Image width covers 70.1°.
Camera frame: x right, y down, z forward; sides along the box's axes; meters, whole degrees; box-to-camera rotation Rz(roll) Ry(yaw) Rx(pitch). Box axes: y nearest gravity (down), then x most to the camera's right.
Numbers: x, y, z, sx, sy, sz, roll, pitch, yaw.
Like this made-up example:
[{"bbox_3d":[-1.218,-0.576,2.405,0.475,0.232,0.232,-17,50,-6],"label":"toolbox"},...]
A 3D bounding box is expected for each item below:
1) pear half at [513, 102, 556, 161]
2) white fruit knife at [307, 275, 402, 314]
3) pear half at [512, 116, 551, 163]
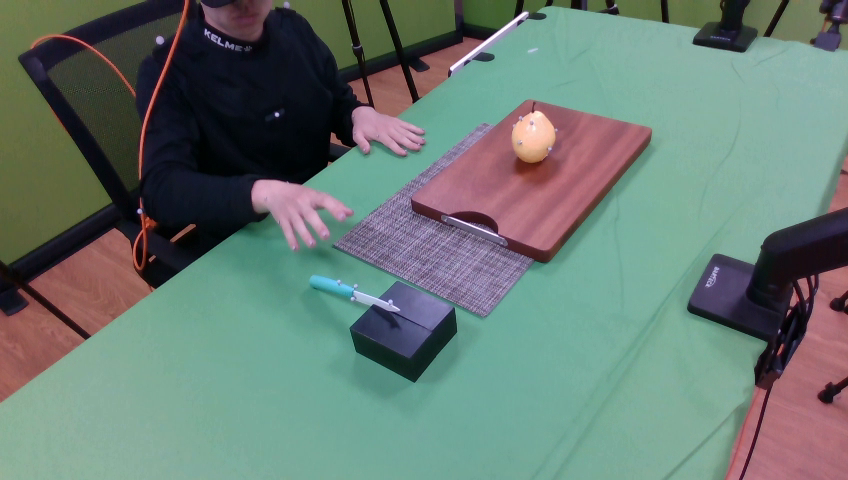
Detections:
[{"bbox_3d":[0.196,-0.198,1.060,0.076,0.110,0.056,13,44,17],"label":"pear half"},{"bbox_3d":[-0.102,0.076,0.847,0.205,0.027,0.016,11,46,43],"label":"white fruit knife"},{"bbox_3d":[0.182,-0.169,1.043,0.070,0.088,0.031,12,45,18],"label":"pear half"}]
